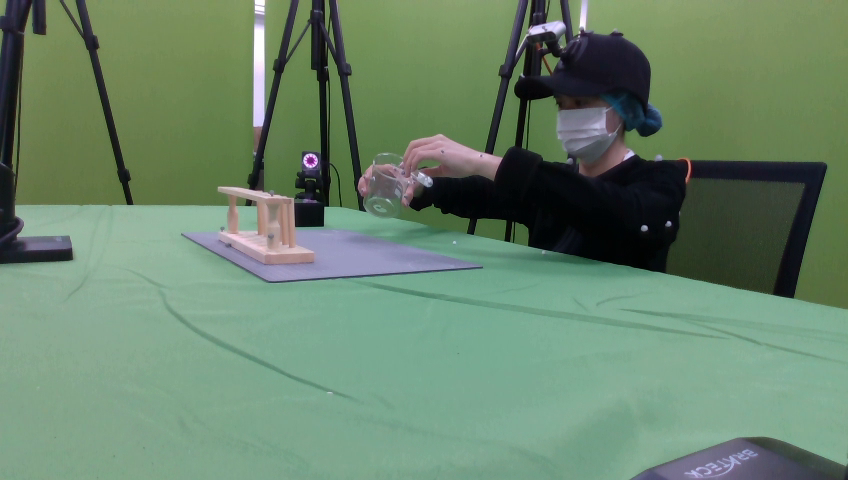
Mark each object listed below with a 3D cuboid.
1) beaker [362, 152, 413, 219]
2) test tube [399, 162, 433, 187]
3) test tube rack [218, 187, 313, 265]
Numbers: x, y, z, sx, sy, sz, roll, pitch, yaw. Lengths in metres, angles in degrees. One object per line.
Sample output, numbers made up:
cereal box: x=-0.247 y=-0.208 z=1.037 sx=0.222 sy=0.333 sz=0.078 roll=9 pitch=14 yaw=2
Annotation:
beaker: x=-0.066 y=-0.092 z=1.075 sx=0.083 sy=0.100 sz=0.074 roll=38 pitch=43 yaw=18
test tube: x=-0.014 y=-0.106 z=0.962 sx=0.017 sy=0.017 sz=0.149 roll=0 pitch=16 yaw=-18
test tube rack: x=-0.235 y=-0.027 z=0.872 sx=0.067 sy=0.085 sz=0.241 roll=-1 pitch=8 yaw=-32
